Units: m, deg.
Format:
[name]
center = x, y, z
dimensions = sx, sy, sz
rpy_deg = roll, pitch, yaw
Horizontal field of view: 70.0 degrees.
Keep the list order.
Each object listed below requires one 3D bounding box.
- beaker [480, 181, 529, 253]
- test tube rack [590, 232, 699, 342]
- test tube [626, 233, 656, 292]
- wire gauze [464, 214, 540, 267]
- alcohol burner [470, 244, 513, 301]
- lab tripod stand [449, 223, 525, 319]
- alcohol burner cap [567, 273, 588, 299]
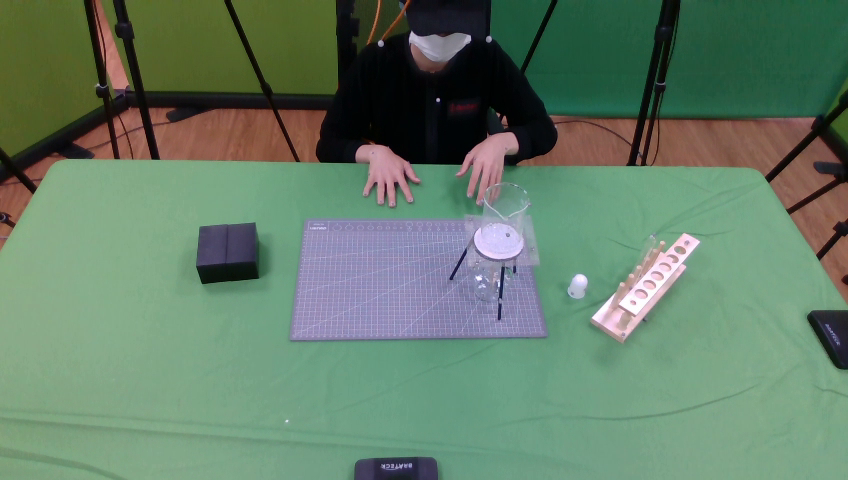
[beaker]
center = 0.130, -0.033, 0.998
dimensions = 0.074, 0.101, 0.083
rpy_deg = 5, 47, 4
[test tube rack]
center = 0.407, 0.074, 1.112
dimensions = 0.066, 0.085, 0.242
rpy_deg = 35, 53, 26
[test tube]
center = 0.384, 0.042, 1.079
dimensions = 0.017, 0.151, 0.017
rpy_deg = 1, 47, -1
[wire gauze]
center = 0.131, -0.001, 1.035
dimensions = 0.121, 0.011, 0.124
rpy_deg = 1, 44, -2
[alcohol burner]
center = 0.122, 0.054, 1.087
dimensions = 0.078, 0.120, 0.077
rpy_deg = 1, 45, -1
[lab tripod stand]
center = 0.120, 0.046, 1.080
dimensions = 0.148, 0.132, 0.147
rpy_deg = 1, 47, -1
[alcohol burner cap]
center = 0.287, 0.083, 1.125
dimensions = 0.034, 0.048, 0.033
rpy_deg = 1, 46, -1
